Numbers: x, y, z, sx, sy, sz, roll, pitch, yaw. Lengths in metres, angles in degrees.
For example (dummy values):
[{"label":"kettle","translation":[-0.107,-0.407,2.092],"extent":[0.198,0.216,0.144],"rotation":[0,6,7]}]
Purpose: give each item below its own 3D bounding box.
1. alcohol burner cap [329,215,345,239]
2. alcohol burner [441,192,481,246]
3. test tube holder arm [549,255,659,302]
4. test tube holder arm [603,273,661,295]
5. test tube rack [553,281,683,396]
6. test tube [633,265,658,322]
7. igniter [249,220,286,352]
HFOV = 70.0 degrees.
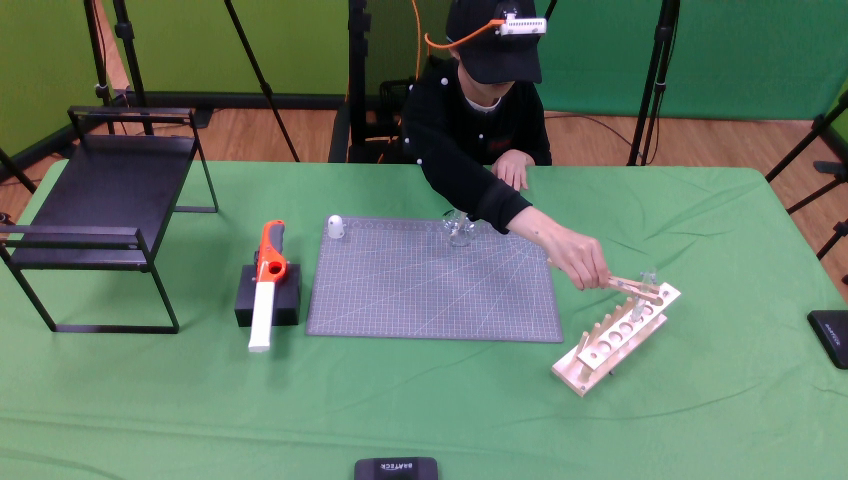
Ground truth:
[{"label":"alcohol burner cap","translation":[-0.172,-0.028,1.192],"extent":[0.034,0.048,0.033],"rotation":[1,47,-1]},{"label":"alcohol burner","translation":[0.073,-0.046,1.176],"extent":[0.078,0.119,0.077],"rotation":[3,44,-2]},{"label":"test tube holder arm","translation":[0.279,0.059,0.951],"extent":[0.177,0.015,0.013],"rotation":[20,59,29]},{"label":"test tube holder arm","translation":[0.319,0.067,0.933],"extent":[0.087,0.015,0.010],"rotation":[12,57,24]},{"label":"test tube rack","translation":[0.329,0.153,1.022],"extent":[0.242,0.085,0.066],"rotation":[-30,54,-28]},{"label":"test tube","translation":[0.340,0.085,0.933],"extent":[0.017,0.151,0.017],"rotation":[-4,53,6]},{"label":"igniter","translation":[-0.269,0.068,1.042],"extent":[0.057,0.025,0.274],"rotation":[0,48,-7]}]
